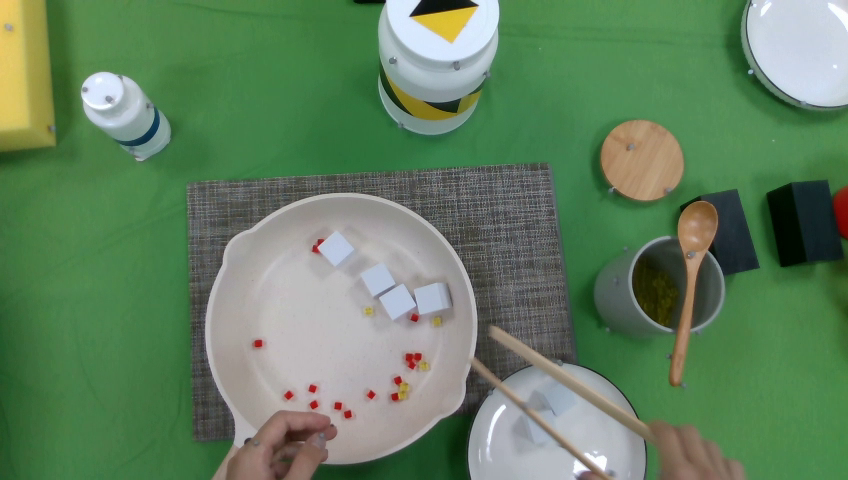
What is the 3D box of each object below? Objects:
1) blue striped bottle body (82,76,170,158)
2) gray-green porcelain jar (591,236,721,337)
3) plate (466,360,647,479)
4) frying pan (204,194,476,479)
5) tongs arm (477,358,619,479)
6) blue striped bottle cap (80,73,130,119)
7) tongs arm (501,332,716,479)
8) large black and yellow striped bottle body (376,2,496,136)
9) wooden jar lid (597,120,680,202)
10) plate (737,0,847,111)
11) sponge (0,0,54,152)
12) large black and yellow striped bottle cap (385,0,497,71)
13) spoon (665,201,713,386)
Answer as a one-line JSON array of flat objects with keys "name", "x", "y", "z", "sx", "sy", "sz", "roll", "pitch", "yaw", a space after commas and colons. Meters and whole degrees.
[{"name": "blue striped bottle body", "x": -0.338, "y": -0.141, "z": 0.684, "sx": 0.063, "sy": 0.121, "sz": 0.063, "roll": 1, "pitch": 79, "yaw": -4}, {"name": "gray-green porcelain jar", "x": 0.258, "y": 0.058, "z": 0.699, "sx": 0.106, "sy": 0.127, "sz": 0.105, "roll": 1, "pitch": 79, "yaw": -5}, {"name": "plate", "x": 0.150, "y": 0.242, "z": 0.699, "sx": 0.208, "sy": 0.039, "sz": 0.207, "roll": 1, "pitch": 81, "yaw": -5}, {"name": "frying pan", "x": -0.149, "y": 0.174, "z": 0.649, "sx": 0.306, "sy": 0.103, "sz": 0.486, "roll": 36, "pitch": 71, "yaw": 3}, {"name": "tongs arm", "x": 0.202, "y": 0.218, "z": 0.528, "sx": 0.051, "sy": 0.027, "sz": 0.381, "roll": -40, "pitch": 62, "yaw": -21}, {"name": "blue striped bottle cap", "x": -0.335, "y": -0.152, "z": 0.634, "sx": 0.044, "sy": 0.020, "sz": 0.044, "roll": 1, "pitch": 81, "yaw": -5}, {"name": "tongs arm", "x": 0.219, "y": 0.202, "z": 0.537, "sx": 0.384, "sy": 0.028, "sz": 0.028, "roll": 36, "pitch": 62, "yaw": 24}, {"name": "large black and yellow striped bottle body", "x": 0.010, "y": -0.212, "z": 0.697, "sx": 0.131, "sy": 0.184, "sz": 0.130, "roll": 1, "pitch": 79, "yaw": -5}, {"name": "wooden jar lid", "x": 0.275, "y": -0.101, "z": 0.783, "sx": 0.108, "sy": 0.021, "sz": 0.108, "roll": 1, "pitch": 81, "yaw": -5}, {"name": "plate", "x": 0.524, "y": -0.271, "z": 0.826, "sx": 0.209, "sy": 0.038, "sz": 0.208, "roll": 1, "pitch": 79, "yaw": -4}, {"name": "sponge", "x": -0.518, "y": -0.209, "z": 0.710, "sx": 0.118, "sy": 0.061, "sz": 0.206, "roll": -9, "pitch": 81, "yaw": -7}, {"name": "large black and yellow striped bottle cap", "x": 0.017, "y": -0.229, "z": 0.615, "sx": 0.115, "sy": 0.019, "sz": 0.114, "roll": 1, "pitch": 81, "yaw": -5}, {"name": "spoon", "x": 0.270, "y": 0.055, "z": 0.629, "sx": 0.042, "sy": 0.021, "sz": 0.193, "roll": 12, "pitch": 82, "yaw": -6}]
